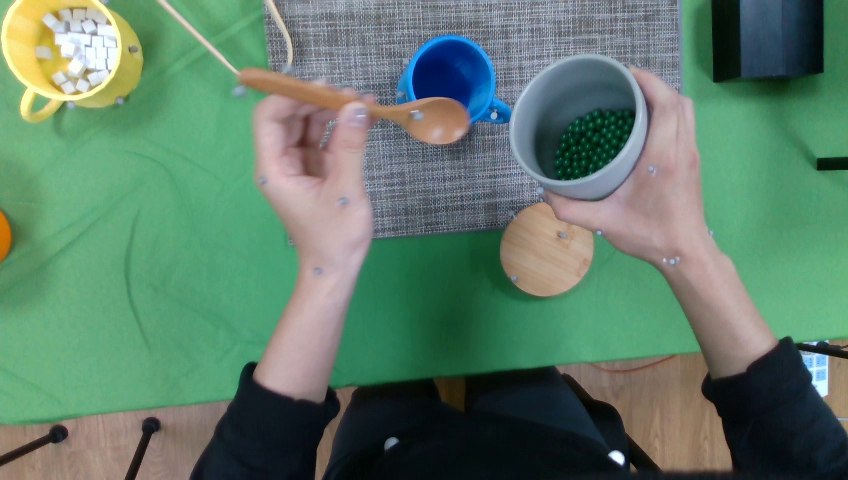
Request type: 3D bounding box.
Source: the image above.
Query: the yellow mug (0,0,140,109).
[{"bbox_3d":[-0.333,-0.175,0.559,0.100,0.063,0.131,34,93,-12],"label":"yellow mug"}]

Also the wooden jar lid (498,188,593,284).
[{"bbox_3d":[0.135,-0.005,0.680,0.108,0.020,0.108,-2,102,-7],"label":"wooden jar lid"}]

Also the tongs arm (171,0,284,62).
[{"bbox_3d":[-0.281,-0.298,0.544,0.051,0.026,0.387,-44,109,-4],"label":"tongs arm"}]

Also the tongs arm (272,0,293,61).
[{"bbox_3d":[-0.215,-0.350,0.549,0.028,0.027,0.390,-31,109,-12],"label":"tongs arm"}]

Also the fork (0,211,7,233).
[{"bbox_3d":[-0.478,-0.019,0.515,0.208,0.018,0.028,1,99,-53],"label":"fork"}]

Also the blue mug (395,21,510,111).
[{"bbox_3d":[0.032,-0.154,0.596,0.117,0.105,0.082,21,94,-11],"label":"blue mug"}]

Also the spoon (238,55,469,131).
[{"bbox_3d":[-0.035,-0.098,0.402,0.042,0.195,0.021,-46,65,31],"label":"spoon"}]

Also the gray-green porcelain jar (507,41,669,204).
[{"bbox_3d":[0.144,-0.090,0.510,0.105,0.127,0.105,-7,77,32],"label":"gray-green porcelain jar"}]
